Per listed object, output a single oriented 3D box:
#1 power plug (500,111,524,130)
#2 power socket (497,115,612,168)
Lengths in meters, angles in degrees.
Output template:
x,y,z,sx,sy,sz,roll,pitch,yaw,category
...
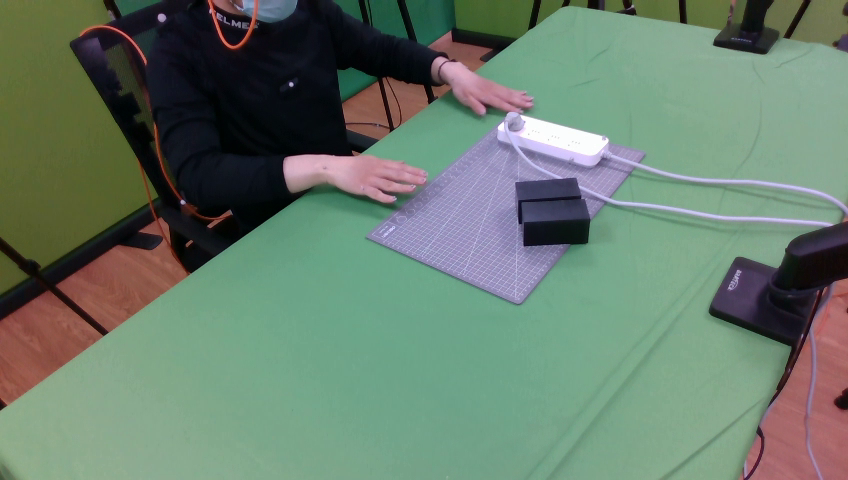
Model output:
x,y,z,sx,sy,sz,roll,pitch,yaw,category
0.160,-0.217,1.149,0.073,0.053,0.035,-33,47,-26,power plug
0.240,-0.191,1.143,0.225,0.033,0.072,23,50,30,power socket
